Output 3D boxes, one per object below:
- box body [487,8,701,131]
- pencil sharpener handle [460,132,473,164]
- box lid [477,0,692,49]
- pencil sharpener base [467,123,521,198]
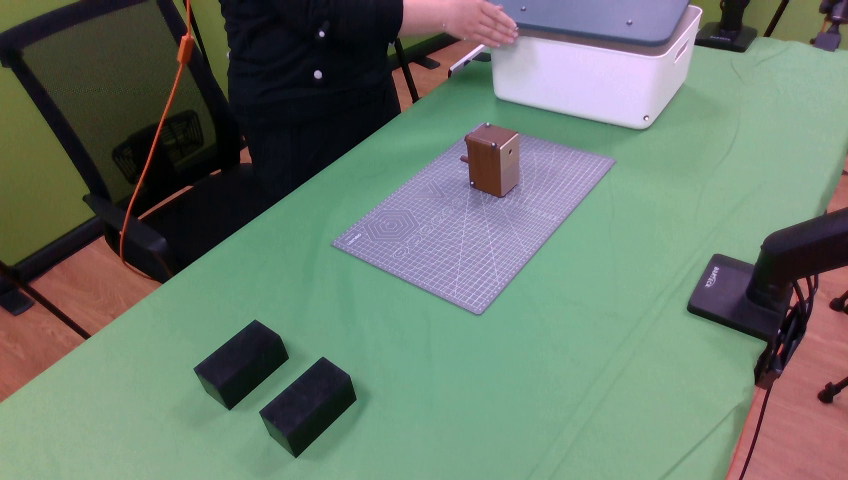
[{"bbox_3d":[0.345,-0.379,1.257,0.361,0.161,0.255,20,48,29],"label":"box body"},{"bbox_3d":[0.077,-0.163,1.062,0.030,0.068,0.036,23,43,32],"label":"pencil sharpener handle"},{"bbox_3d":[0.317,-0.461,1.178,0.369,0.015,0.263,17,52,24],"label":"box lid"},{"bbox_3d":[0.119,-0.138,1.044,0.076,0.107,0.061,23,50,32],"label":"pencil sharpener base"}]
